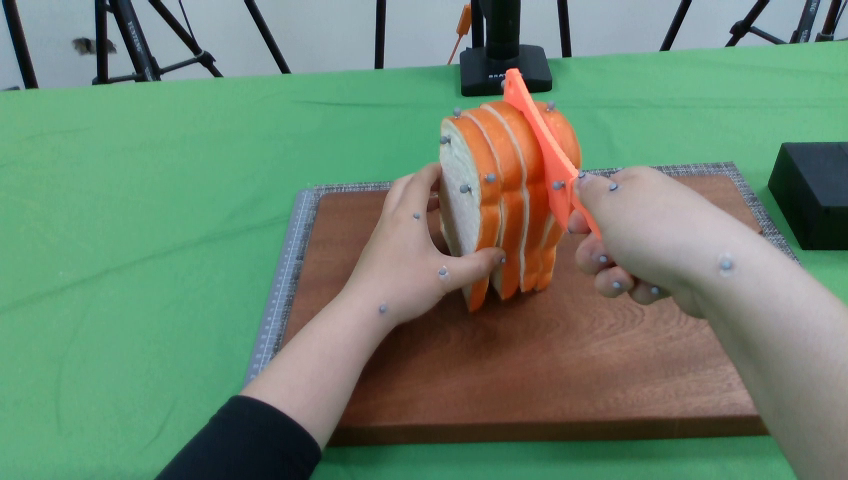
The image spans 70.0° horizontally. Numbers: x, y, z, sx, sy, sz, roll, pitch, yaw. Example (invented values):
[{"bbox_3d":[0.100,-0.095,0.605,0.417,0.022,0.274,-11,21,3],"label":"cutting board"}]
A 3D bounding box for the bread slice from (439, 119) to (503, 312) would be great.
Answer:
[{"bbox_3d":[0.035,-0.027,0.478,0.018,0.135,0.106,-15,38,-11],"label":"bread slice"}]

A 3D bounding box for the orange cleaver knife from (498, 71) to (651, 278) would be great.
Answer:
[{"bbox_3d":[0.090,-0.040,0.412,0.012,0.078,0.209,-15,46,-8],"label":"orange cleaver knife"}]

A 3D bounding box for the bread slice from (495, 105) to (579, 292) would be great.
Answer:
[{"bbox_3d":[0.086,-0.039,0.486,0.019,0.132,0.103,-6,40,-19],"label":"bread slice"}]
